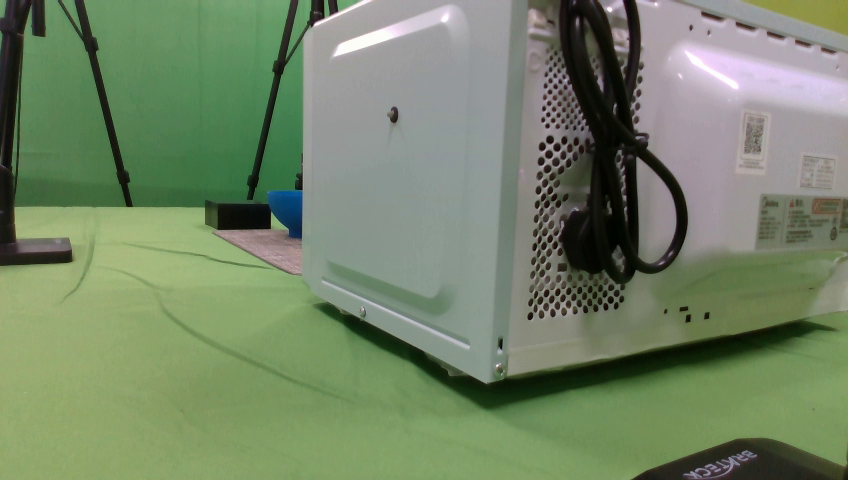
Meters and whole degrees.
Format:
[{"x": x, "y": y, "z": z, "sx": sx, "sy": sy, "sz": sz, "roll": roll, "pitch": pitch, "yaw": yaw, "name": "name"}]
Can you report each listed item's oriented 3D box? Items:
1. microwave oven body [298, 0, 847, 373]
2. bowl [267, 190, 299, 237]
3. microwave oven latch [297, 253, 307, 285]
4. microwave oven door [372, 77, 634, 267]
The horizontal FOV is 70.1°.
[{"x": 0.151, "y": -0.055, "z": 0.543, "sx": 0.444, "sy": 0.260, "sz": 0.324, "roll": -1, "pitch": 7, "yaw": -33, "name": "microwave oven body"}, {"x": -0.202, "y": -0.046, "z": 1.069, "sx": 0.151, "sy": 0.077, "sz": 0.151, "roll": 3, "pitch": 7, "yaw": 0, "name": "bowl"}, {"x": -0.082, "y": 0.027, "z": 0.583, "sx": 0.079, "sy": 0.029, "sz": 0.030, "roll": -1, "pitch": 7, "yaw": -33, "name": "microwave oven latch"}, {"x": 0.096, "y": -0.099, "z": 0.837, "sx": 0.355, "sy": 0.243, "sz": 0.039, "roll": 5, "pitch": 8, "yaw": 20, "name": "microwave oven door"}]
